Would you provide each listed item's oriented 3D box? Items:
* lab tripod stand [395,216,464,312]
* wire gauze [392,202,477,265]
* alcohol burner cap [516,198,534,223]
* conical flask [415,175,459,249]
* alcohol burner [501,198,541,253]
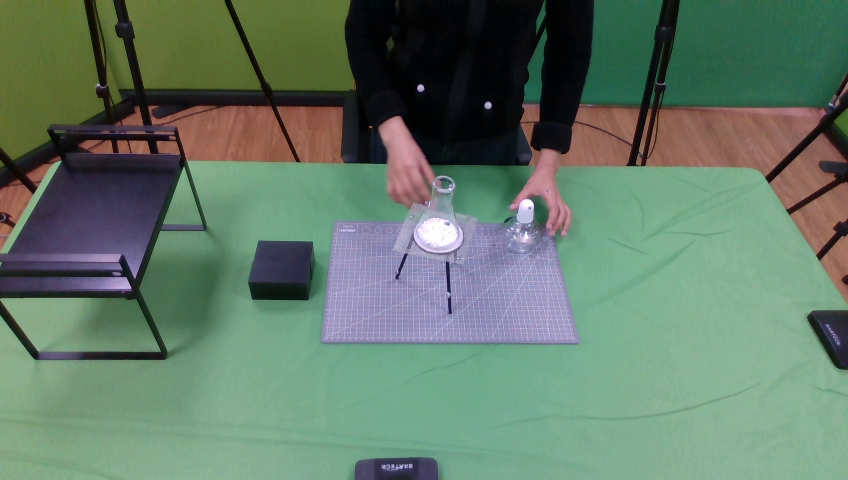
[{"bbox_3d":[0.023,0.036,1.084,0.148,0.132,0.147,4,46,-4],"label":"lab tripod stand"},{"bbox_3d":[0.021,-0.011,1.037,0.121,0.011,0.124,13,49,8],"label":"wire gauze"},{"bbox_3d":[0.194,-0.058,1.152,0.034,0.048,0.033,-1,50,1],"label":"alcohol burner cap"},{"bbox_3d":[0.026,-0.049,0.993,0.075,0.122,0.075,3,47,-3],"label":"conical flask"},{"bbox_3d":[0.192,-0.033,1.178,0.078,0.119,0.077,2,44,-2],"label":"alcohol burner"}]
